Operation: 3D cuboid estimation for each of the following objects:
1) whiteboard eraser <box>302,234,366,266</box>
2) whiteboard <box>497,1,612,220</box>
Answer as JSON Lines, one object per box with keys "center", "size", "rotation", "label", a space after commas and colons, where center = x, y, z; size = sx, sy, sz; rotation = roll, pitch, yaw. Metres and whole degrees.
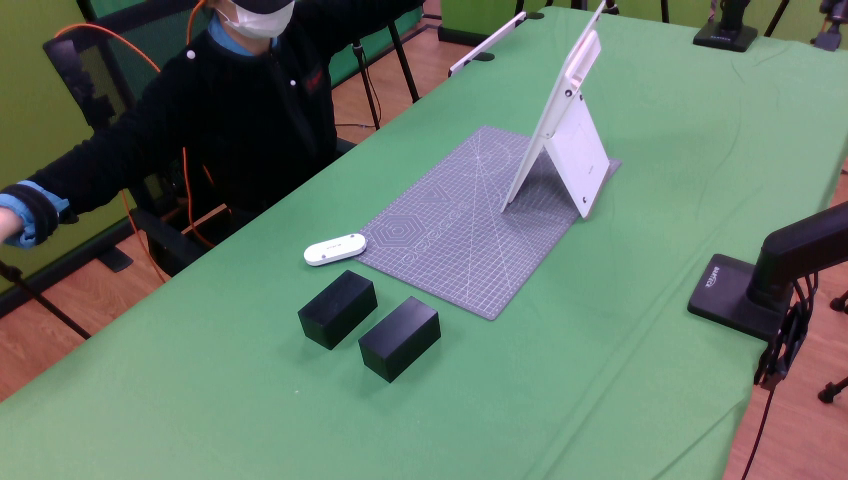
{"center": [-0.144, 0.015, 0.970], "size": [0.101, 0.019, 0.041], "rotation": [-15, 42, -6], "label": "whiteboard eraser"}
{"center": [0.259, -0.177, 0.963], "size": [0.143, 0.306, 0.217], "rotation": [28, 48, 9], "label": "whiteboard"}
